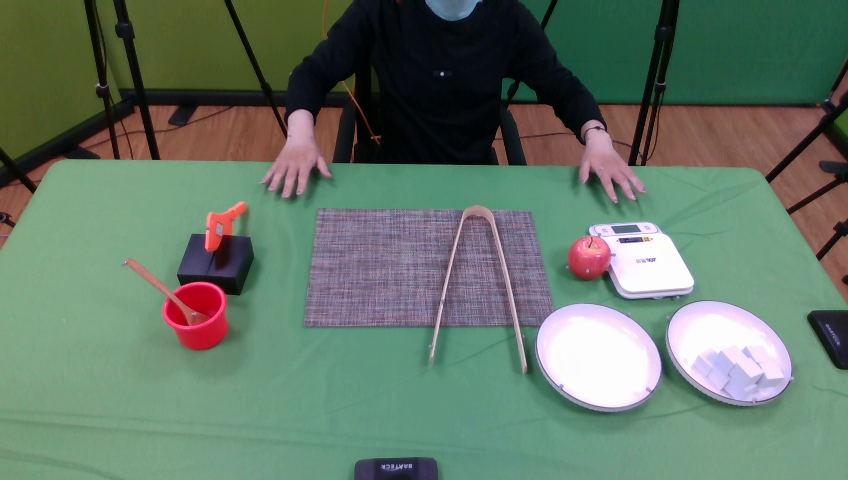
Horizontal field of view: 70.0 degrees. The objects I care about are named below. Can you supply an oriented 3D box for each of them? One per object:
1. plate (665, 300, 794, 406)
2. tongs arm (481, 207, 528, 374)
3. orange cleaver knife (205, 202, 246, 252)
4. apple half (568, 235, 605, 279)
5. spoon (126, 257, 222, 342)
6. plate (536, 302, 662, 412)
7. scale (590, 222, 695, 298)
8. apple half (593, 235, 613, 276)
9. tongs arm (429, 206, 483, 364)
[{"bbox_3d":[0.513,0.194,1.034,0.208,0.039,0.206,2,46,-2],"label":"plate"},{"bbox_3d":[0.149,0.077,1.124,0.028,0.028,0.385,-4,46,-2],"label":"tongs arm"},{"bbox_3d":[-0.374,-0.029,1.150,0.012,0.077,0.211,4,13,0],"label":"orange cleaver knife"},{"bbox_3d":[0.302,0.035,1.148,0.053,0.075,0.080,-9,51,-8],"label":"apple half"},{"bbox_3d":[-0.408,0.096,0.990,0.194,0.021,0.041,50,53,-18],"label":"spoon"},{"bbox_3d":[0.288,0.197,1.016,0.209,0.038,0.208,2,46,-2],"label":"plate"},{"bbox_3d":[0.424,0.031,1.189,0.149,0.032,0.199,-3,46,-7],"label":"scale"},{"bbox_3d":[0.340,0.029,1.155,0.033,0.082,0.080,-10,47,-8],"label":"apple half"},{"bbox_3d":[0.064,0.069,1.124,0.051,0.026,0.382,8,46,5],"label":"tongs arm"}]
